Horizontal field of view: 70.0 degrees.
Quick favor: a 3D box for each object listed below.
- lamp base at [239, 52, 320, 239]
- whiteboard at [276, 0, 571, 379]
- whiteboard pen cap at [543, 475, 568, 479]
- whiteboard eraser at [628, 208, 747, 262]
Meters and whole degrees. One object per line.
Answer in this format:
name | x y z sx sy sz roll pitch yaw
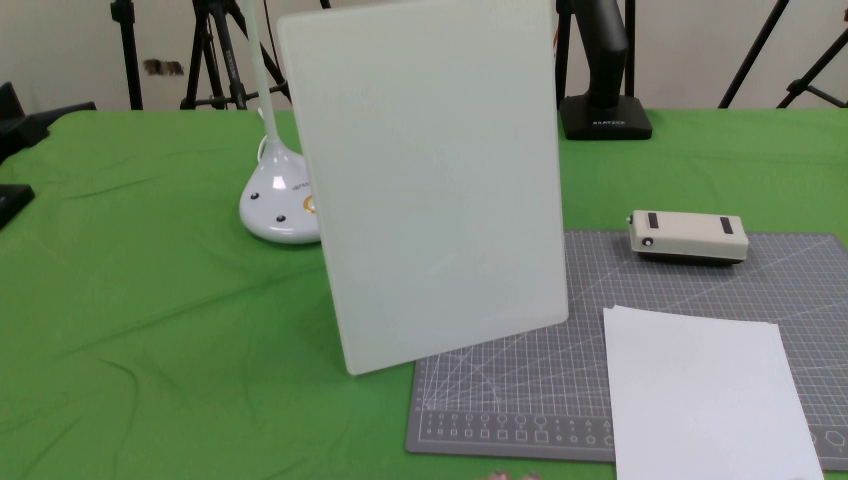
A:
lamp base | -0.158 -0.117 0.708 0.160 0.182 0.177 -32 44 -32
whiteboard | 0.001 -0.061 0.571 0.217 0.307 0.142 -12 20 -10
whiteboard pen cap | 0.092 0.161 0.382 0.033 0.018 0.018 3 36 28
whiteboard eraser | 0.278 -0.005 0.646 0.112 0.042 0.055 5 40 10
